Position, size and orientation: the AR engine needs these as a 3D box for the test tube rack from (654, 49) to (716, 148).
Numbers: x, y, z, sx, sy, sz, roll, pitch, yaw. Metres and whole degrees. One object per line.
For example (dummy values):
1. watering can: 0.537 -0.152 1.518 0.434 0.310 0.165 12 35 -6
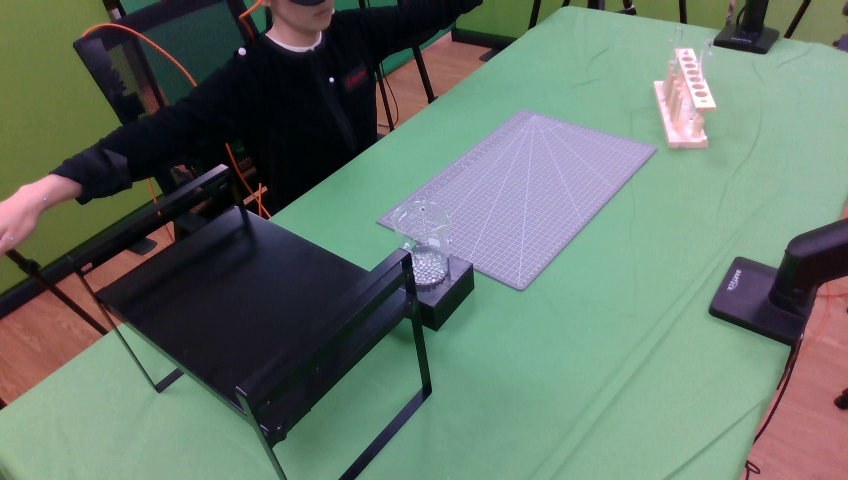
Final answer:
1. test tube rack: 0.502 -0.281 1.176 0.066 0.085 0.241 2 41 11

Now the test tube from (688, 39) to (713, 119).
1. test tube: 0.507 -0.292 1.111 0.017 0.151 0.017 -3 37 3

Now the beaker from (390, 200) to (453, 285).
1. beaker: 0.002 0.006 0.831 0.084 0.101 0.074 5 42 13

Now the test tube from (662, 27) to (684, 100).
1. test tube: 0.486 -0.342 1.181 0.017 0.151 0.017 -3 42 3
